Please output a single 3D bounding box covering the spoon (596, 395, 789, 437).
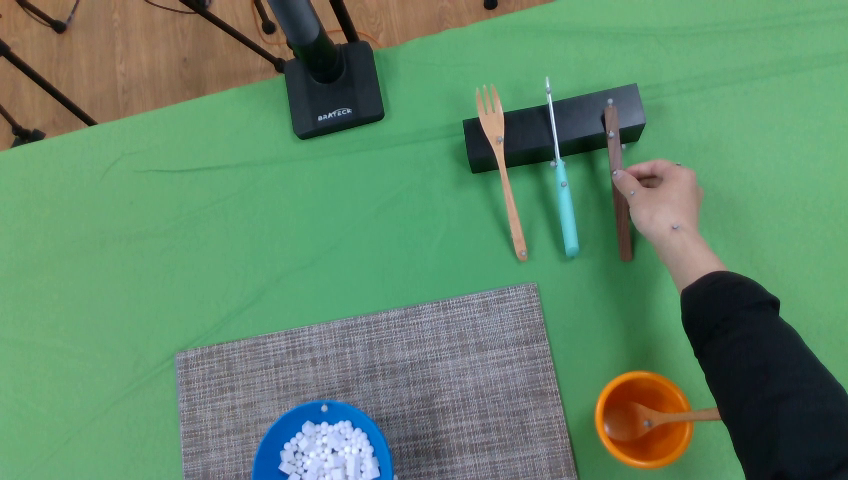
[{"bbox_3d":[0.248,0.167,0.583,0.022,0.193,0.041,2,73,-36],"label":"spoon"}]

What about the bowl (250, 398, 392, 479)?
[{"bbox_3d":[-0.101,0.247,0.654,0.151,0.077,0.150,-2,77,9],"label":"bowl"}]

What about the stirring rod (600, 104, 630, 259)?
[{"bbox_3d":[0.216,-0.065,0.683,0.014,0.006,0.176,-8,96,5],"label":"stirring rod"}]

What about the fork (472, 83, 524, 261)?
[{"bbox_3d":[0.088,-0.076,0.696,0.028,0.018,0.207,-13,95,3],"label":"fork"}]

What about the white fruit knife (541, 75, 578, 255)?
[{"bbox_3d":[0.150,-0.084,0.687,0.016,0.027,0.207,-10,92,6],"label":"white fruit knife"}]
